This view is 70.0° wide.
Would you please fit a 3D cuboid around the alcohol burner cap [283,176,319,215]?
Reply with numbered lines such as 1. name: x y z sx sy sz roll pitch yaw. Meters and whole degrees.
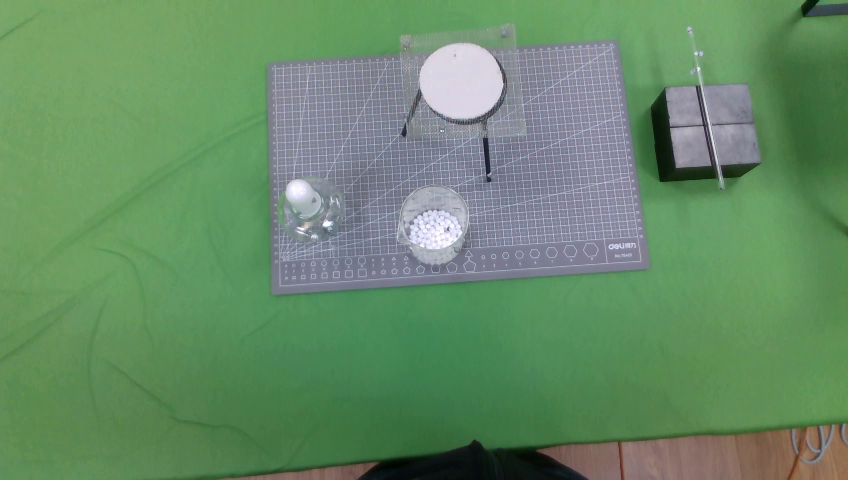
1. alcohol burner cap: -0.133 -0.049 0.643 0.034 0.048 0.033 -1 73 4

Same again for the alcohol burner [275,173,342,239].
1. alcohol burner: -0.132 -0.042 0.678 0.078 0.119 0.077 0 79 -1

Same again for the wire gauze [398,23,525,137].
1. wire gauze: 0.038 -0.164 0.625 0.125 0.011 0.121 -3 79 0

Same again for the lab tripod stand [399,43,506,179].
1. lab tripod stand: 0.041 -0.154 0.691 0.148 0.132 0.147 0 76 1

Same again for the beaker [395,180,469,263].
1. beaker: 0.007 -0.014 0.680 0.084 0.100 0.073 -31 79 -5

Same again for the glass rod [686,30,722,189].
1. glass rod: 0.327 -0.155 0.709 0.008 0.008 0.199 -6 79 -1
